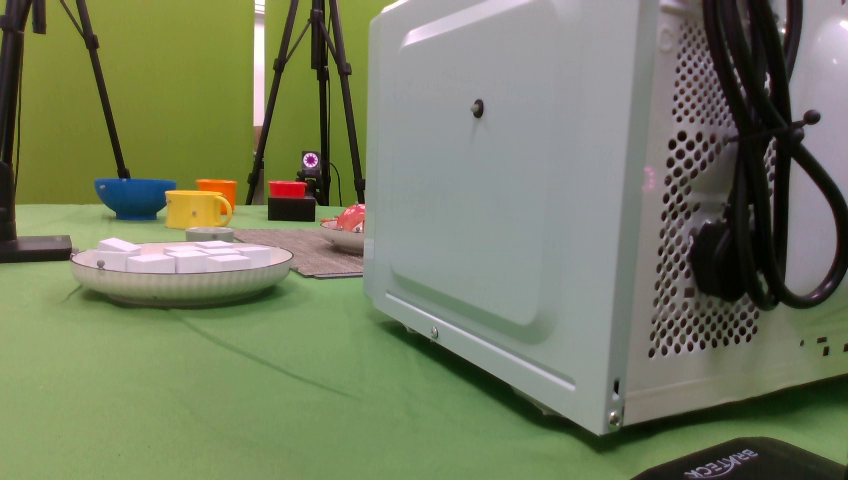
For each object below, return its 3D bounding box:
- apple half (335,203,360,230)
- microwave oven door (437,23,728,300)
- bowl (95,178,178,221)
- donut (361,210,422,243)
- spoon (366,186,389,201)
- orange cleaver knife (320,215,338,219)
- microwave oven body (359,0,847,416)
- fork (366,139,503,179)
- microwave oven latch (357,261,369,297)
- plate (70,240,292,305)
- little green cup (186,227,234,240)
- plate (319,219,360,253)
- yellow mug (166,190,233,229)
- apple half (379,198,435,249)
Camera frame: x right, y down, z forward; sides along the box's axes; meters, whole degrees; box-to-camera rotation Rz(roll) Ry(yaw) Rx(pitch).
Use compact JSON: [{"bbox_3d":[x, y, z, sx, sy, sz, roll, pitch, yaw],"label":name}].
[{"bbox_3d":[-0.116,-0.038,0.959,0.081,0.033,0.081,-37,8,7],"label":"apple half"},{"bbox_3d":[0.181,-0.072,0.621,0.358,0.243,0.039,-2,8,-29],"label":"microwave oven door"},{"bbox_3d":[-0.576,-0.081,1.217,0.151,0.077,0.151,4,8,0],"label":"bowl"},{"bbox_3d":[-0.051,-0.020,0.959,0.099,0.048,0.099,7,7,-1],"label":"donut"},{"bbox_3d":[-0.089,-0.092,1.148,0.042,0.021,0.193,-13,12,-3],"label":"spoon"},{"bbox_3d":[-0.142,-0.057,1.394,0.077,0.012,0.212,3,7,44],"label":"orange cleaver knife"},{"bbox_3d":[0.211,-0.047,0.474,0.444,0.260,0.324,-1,7,-28],"label":"microwave oven body"},{"bbox_3d":[0.016,-0.118,0.881,0.208,0.018,0.028,-19,-1,-5],"label":"fork"},{"bbox_3d":[-0.019,0.033,0.531,0.079,0.029,0.030,-1,7,-27],"label":"microwave oven latch"},{"bbox_3d":[-0.242,0.031,0.618,0.208,0.039,0.207,2,8,0],"label":"plate"},{"bbox_3d":[-0.285,0.005,0.805,0.061,0.038,0.061,2,8,0],"label":"little green cup"},{"bbox_3d":[-0.059,-0.007,0.939,0.209,0.038,0.209,3,7,0],"label":"plate"},{"bbox_3d":[-0.415,-0.057,1.132,0.130,0.064,0.100,6,8,16],"label":"yellow mug"},{"bbox_3d":[-0.020,-0.030,0.891,0.081,0.053,0.074,-3,50,-26],"label":"apple half"}]
